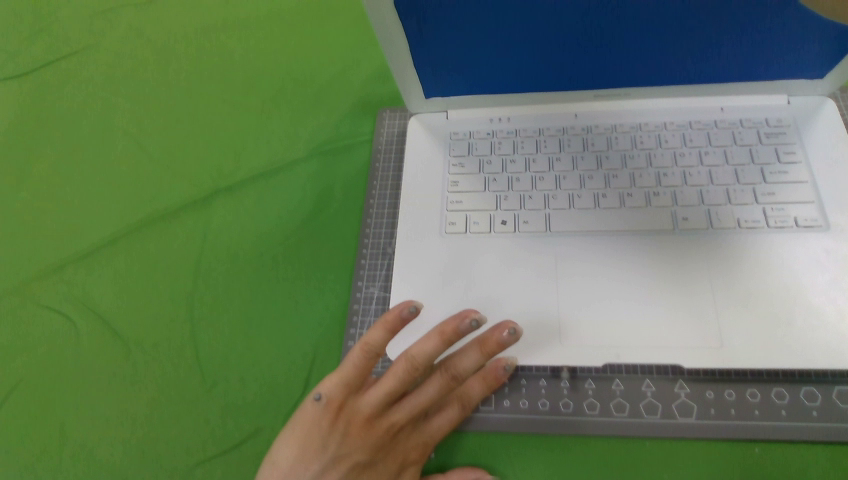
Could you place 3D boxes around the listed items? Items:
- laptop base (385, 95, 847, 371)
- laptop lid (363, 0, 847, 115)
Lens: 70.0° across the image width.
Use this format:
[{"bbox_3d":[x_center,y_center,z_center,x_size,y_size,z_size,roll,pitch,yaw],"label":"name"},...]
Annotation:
[{"bbox_3d":[0.154,-0.012,0.466,0.354,0.023,0.233,-1,61,8],"label":"laptop base"},{"bbox_3d":[0.143,-0.143,0.410,0.356,0.243,0.013,-1,77,10],"label":"laptop lid"}]
